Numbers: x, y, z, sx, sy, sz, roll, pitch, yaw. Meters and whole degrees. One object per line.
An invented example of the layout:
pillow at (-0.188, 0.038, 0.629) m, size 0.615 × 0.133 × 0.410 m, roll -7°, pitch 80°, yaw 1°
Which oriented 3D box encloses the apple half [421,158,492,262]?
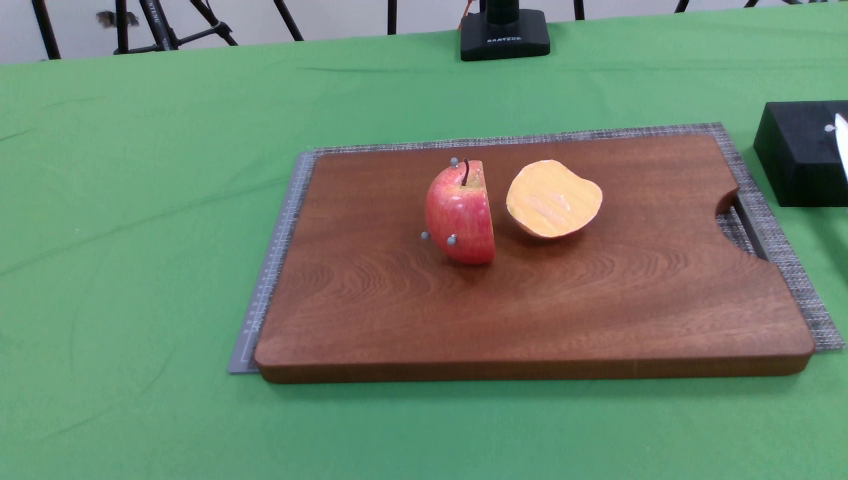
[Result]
apple half at (0.025, -0.022, 0.493) m, size 0.053 × 0.075 × 0.080 m, roll -9°, pitch 47°, yaw 5°

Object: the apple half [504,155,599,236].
apple half at (0.105, -0.031, 0.520) m, size 0.081 × 0.033 × 0.080 m, roll -2°, pitch 59°, yaw 4°

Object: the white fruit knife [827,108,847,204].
white fruit knife at (0.359, -0.027, 0.493) m, size 0.027 × 0.016 × 0.205 m, roll 0°, pitch 61°, yaw 7°
